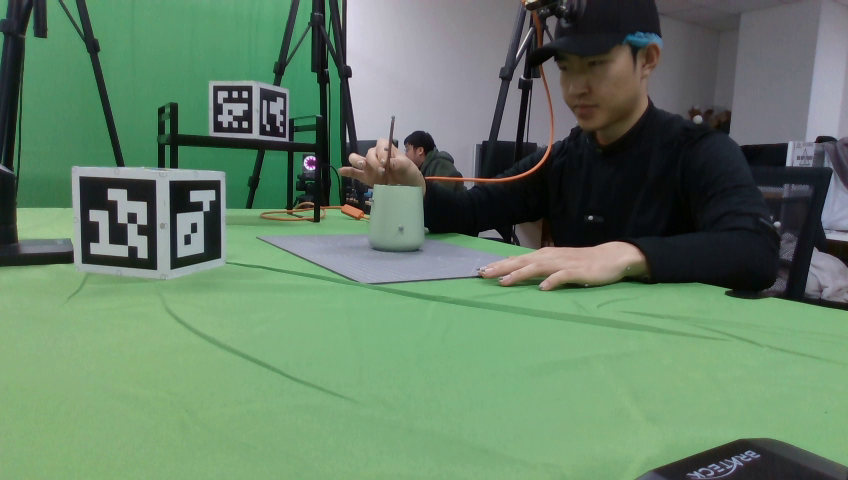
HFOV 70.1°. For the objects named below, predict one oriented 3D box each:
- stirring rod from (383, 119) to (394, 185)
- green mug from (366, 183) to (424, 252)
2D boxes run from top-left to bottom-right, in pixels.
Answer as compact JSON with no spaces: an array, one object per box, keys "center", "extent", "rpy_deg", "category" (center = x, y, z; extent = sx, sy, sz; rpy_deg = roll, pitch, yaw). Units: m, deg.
[{"center":[-0.062,-0.106,0.970],"extent":[0.006,0.176,0.014],"rpy_deg":[7,6,-9],"category":"stirring rod"},{"center":[-0.054,-0.039,0.989],"extent":[0.093,0.105,0.124],"rpy_deg":[-1,8,-29],"category":"green mug"}]
